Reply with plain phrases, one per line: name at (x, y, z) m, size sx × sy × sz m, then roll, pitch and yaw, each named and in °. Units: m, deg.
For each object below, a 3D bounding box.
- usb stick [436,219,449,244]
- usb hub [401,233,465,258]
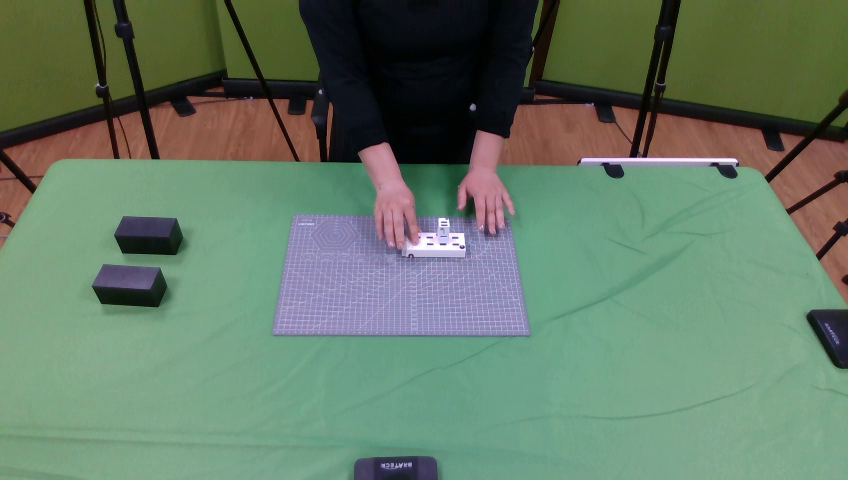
usb stick at (0.035, -0.012, 1.166) m, size 0.021 × 0.059 × 0.027 m, roll -2°, pitch 49°, yaw -7°
usb hub at (0.017, 0.011, 1.182) m, size 0.125 × 0.025 × 0.049 m, roll 1°, pitch 46°, yaw -3°
